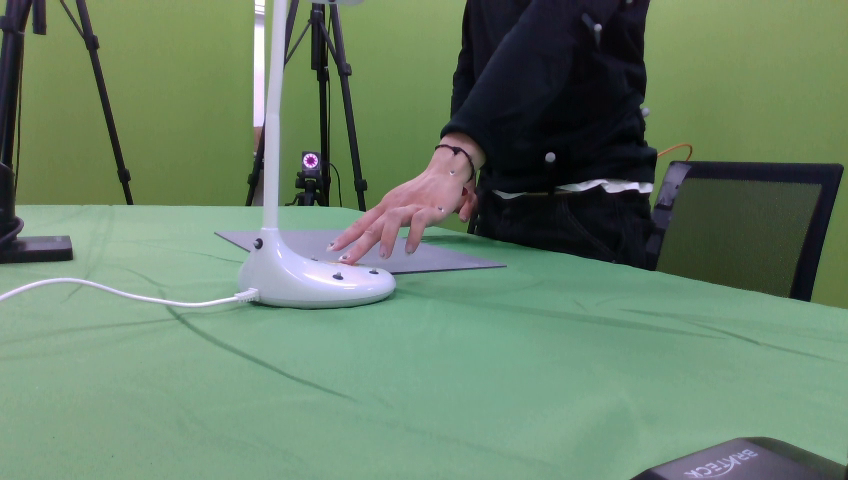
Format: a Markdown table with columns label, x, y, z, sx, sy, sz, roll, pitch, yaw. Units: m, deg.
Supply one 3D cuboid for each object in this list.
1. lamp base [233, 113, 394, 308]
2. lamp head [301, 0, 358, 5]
| label | x | y | z | sx | sy | sz | roll | pitch | yaw |
| --- | --- | --- | --- | --- | --- | --- | --- | --- | --- |
| lamp base | -0.113 | -0.033 | 0.599 | 0.160 | 0.180 | 0.180 | 6 | 11 | 28 |
| lamp head | -0.096 | -0.314 | 0.610 | 0.112 | 0.123 | 0.112 | -4 | 50 | 5 |
